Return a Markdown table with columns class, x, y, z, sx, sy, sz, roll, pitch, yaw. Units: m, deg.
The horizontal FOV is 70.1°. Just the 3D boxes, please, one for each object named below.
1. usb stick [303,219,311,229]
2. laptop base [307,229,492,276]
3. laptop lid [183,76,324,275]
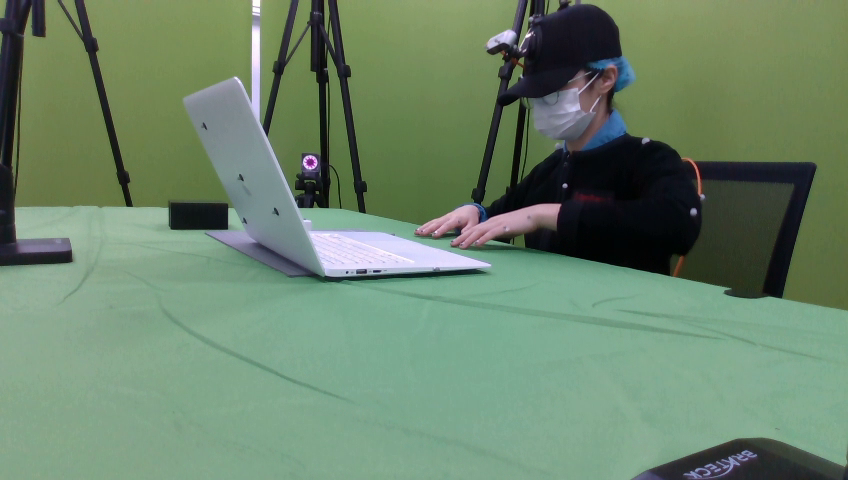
| class | x | y | z | sx | sy | sz | roll | pitch | yaw |
| --- | --- | --- | --- | --- | --- | --- | --- | --- | --- |
| usb stick | -0.235 | -0.025 | 1.102 | 0.021 | 0.027 | 0.059 | 9 | 12 | 37 |
| laptop base | -0.094 | 0.016 | 0.888 | 0.237 | 0.023 | 0.352 | 2 | 7 | -30 |
| laptop lid | -0.237 | -0.085 | 0.791 | 0.013 | 0.242 | 0.355 | -29 | 22 | -23 |
